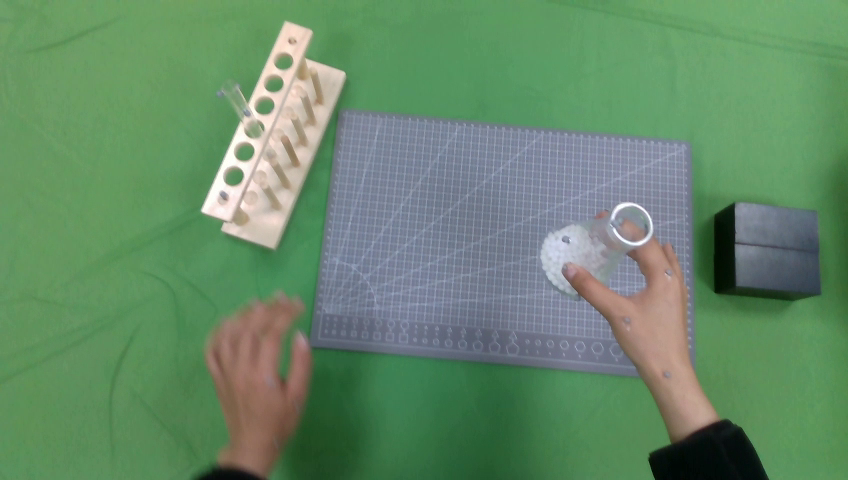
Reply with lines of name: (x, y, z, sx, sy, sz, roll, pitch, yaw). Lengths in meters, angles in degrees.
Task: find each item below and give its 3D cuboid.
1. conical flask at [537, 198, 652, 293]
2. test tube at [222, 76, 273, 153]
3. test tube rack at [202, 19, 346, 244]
conical flask: (0.153, 0.000, 0.532, 0.075, 0.122, 0.075, 3, 74, -9)
test tube: (-0.189, -0.132, 0.663, 0.017, 0.151, 0.017, 0, 73, 1)
test tube rack: (-0.169, -0.125, 0.713, 0.067, 0.085, 0.241, 19, 77, 2)
